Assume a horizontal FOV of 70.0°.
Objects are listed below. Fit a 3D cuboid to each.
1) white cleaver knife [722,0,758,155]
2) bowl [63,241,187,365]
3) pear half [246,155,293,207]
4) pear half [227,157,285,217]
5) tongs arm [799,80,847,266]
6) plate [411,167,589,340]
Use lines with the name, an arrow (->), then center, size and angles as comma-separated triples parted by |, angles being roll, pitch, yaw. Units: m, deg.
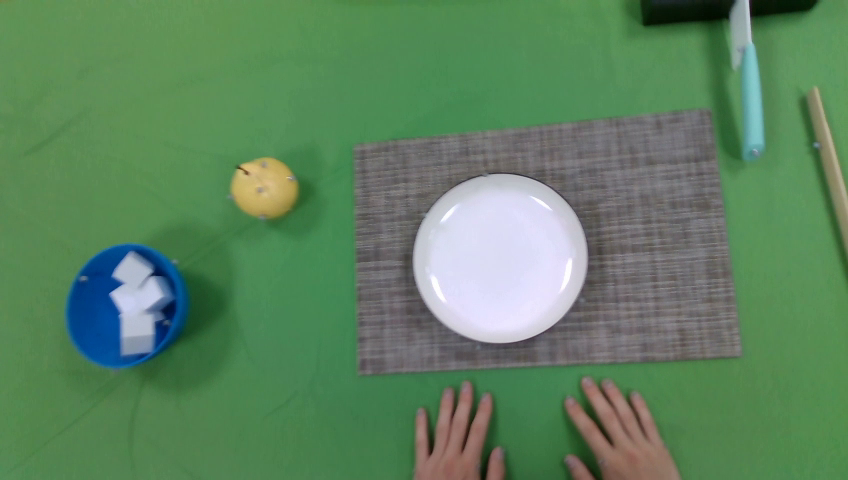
white cleaver knife -> 0.372, -0.244, 0.719 | 0.021, 0.066, 0.286 | -3, 90, 12
bowl -> -0.358, 0.081, 0.763 | 0.151, 0.077, 0.151 | -1, 80, 8
pear half -> -0.187, -0.081, 0.761 | 0.031, 0.088, 0.070 | -31, 67, 2
pear half -> -0.220, -0.066, 0.753 | 0.056, 0.111, 0.075 | -32, 67, 1
tongs arm -> 0.490, -0.002, 0.686 | 0.028, 0.028, 0.385 | -12, 79, 4
plate -> 0.090, 0.016, 0.729 | 0.207, 0.039, 0.207 | -1, 80, 8
